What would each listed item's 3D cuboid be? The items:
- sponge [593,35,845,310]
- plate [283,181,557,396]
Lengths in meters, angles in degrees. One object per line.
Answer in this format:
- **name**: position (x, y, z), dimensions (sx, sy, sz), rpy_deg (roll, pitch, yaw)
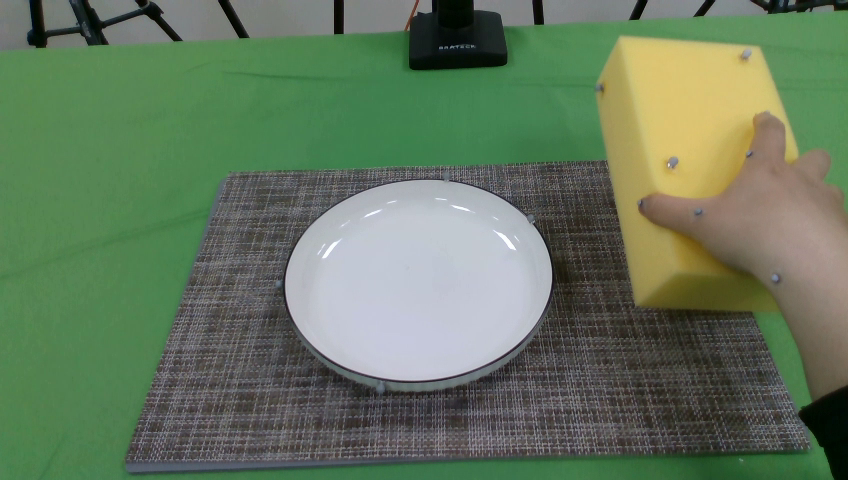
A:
- **sponge**: position (0.207, -0.054, 0.453), dimensions (0.118, 0.061, 0.205), rpy_deg (1, 62, -7)
- **plate**: position (-0.003, 0.034, 0.475), dimensions (0.207, 0.039, 0.205), rpy_deg (-2, 46, 2)
